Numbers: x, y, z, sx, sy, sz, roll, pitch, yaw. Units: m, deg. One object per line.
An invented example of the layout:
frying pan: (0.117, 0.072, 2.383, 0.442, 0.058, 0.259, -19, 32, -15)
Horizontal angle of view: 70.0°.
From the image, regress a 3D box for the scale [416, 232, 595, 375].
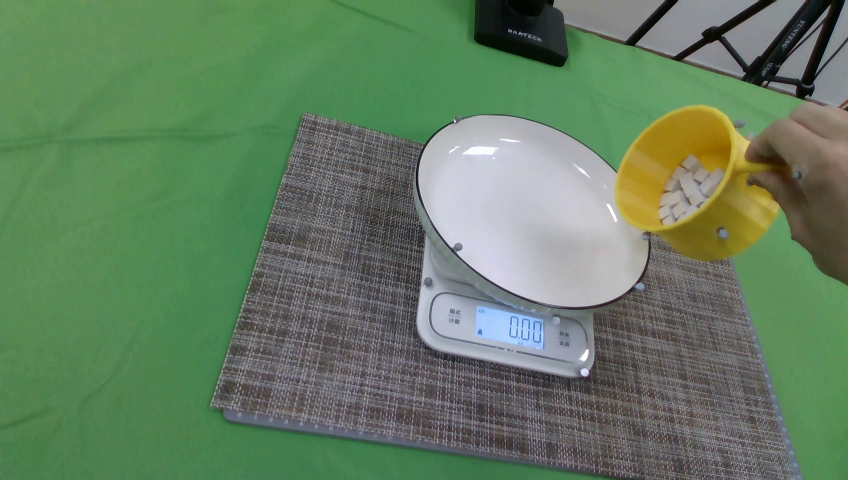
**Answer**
scale: (0.073, 0.011, 0.521, 0.149, 0.032, 0.199, 13, 51, -9)

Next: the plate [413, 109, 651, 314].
plate: (0.088, -0.026, 0.511, 0.210, 0.038, 0.207, 10, 52, -12)

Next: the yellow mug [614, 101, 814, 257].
yellow mug: (0.212, -0.044, 0.443, 0.064, 0.130, 0.099, 21, 79, -30)
